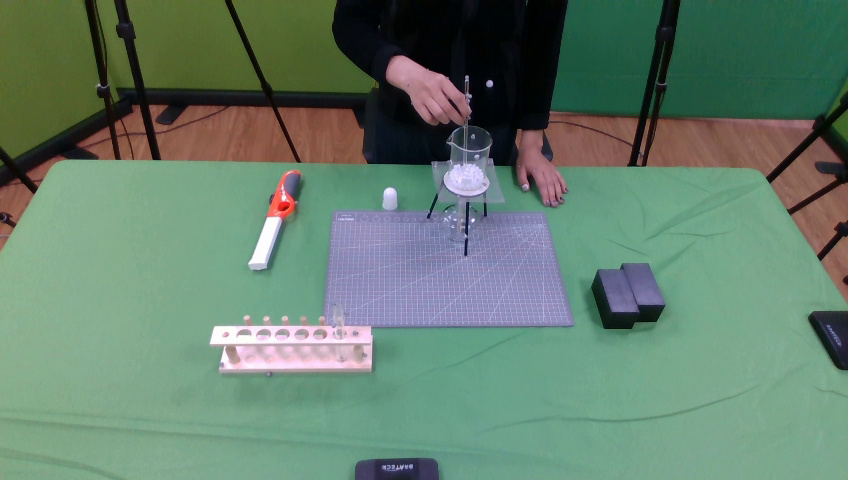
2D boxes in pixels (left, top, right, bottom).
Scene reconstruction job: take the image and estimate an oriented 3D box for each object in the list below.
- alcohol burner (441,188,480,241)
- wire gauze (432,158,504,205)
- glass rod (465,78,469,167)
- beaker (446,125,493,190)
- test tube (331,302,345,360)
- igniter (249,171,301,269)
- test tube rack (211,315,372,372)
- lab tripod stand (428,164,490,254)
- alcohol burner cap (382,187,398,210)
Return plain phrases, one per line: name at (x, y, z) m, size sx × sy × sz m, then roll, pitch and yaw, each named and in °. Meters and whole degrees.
alcohol burner at (0.073, -0.055, 1.189) m, size 0.078 × 0.120 × 0.077 m, roll 1°, pitch 48°, yaw -1°
wire gauze at (0.081, -0.111, 1.138) m, size 0.125 × 0.011 × 0.120 m, roll 0°, pitch 48°, yaw -7°
glass rod at (0.076, -0.202, 1.072) m, size 0.008 × 0.201 × 0.008 m, roll -2°, pitch 51°, yaw 2°
beaker at (0.079, -0.148, 1.106) m, size 0.084 × 0.101 × 0.073 m, roll -3°, pitch 47°, yaw -7°
test tube at (-0.132, 0.144, 0.938) m, size 0.017 × 0.151 × 0.017 m, roll 2°, pitch 49°, yaw -3°
igniter at (-0.297, -0.049, 1.220) m, size 0.057 × 0.025 × 0.275 m, roll -2°, pitch 45°, yaw 9°
test tube rack at (-0.208, 0.163, 0.982) m, size 0.242 × 0.085 × 0.066 m, roll 1°, pitch 46°, yaw -4°
lab tripod stand at (0.078, -0.068, 1.188) m, size 0.148 × 0.132 × 0.147 m, roll 3°, pitch 47°, yaw -3°
alcohol burner cap at (-0.072, -0.090, 1.266) m, size 0.034 × 0.048 × 0.033 m, roll 2°, pitch 47°, yaw -2°
